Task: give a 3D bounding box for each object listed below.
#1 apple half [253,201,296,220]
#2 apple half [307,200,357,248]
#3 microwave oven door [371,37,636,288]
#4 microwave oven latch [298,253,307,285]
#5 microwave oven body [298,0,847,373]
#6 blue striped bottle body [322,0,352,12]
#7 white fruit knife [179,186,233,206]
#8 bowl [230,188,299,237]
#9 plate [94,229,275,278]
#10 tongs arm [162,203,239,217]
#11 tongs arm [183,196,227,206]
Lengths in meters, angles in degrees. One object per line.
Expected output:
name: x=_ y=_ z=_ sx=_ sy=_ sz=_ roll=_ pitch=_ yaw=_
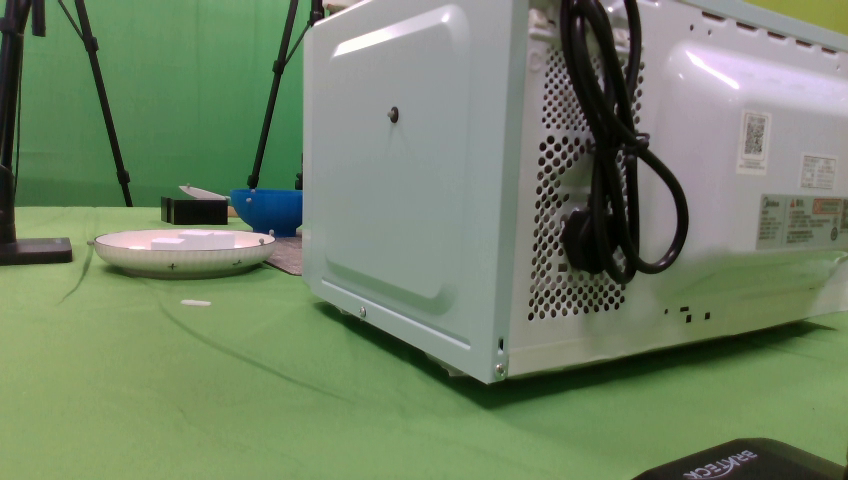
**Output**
apple half: x=-0.264 y=-0.053 z=1.067 sx=0.081 sy=0.033 sz=0.081 roll=1 pitch=8 yaw=0
apple half: x=-0.135 y=-0.024 z=0.941 sx=0.053 sy=0.074 sz=0.081 roll=13 pitch=8 yaw=39
microwave oven door: x=0.109 y=-0.080 z=0.686 sx=0.358 sy=0.243 sz=0.039 roll=-2 pitch=9 yaw=-33
microwave oven latch: x=-0.082 y=0.027 z=0.583 sx=0.079 sy=0.029 sz=0.030 roll=-2 pitch=8 yaw=-34
microwave oven body: x=0.151 y=-0.055 z=0.542 sx=0.444 sy=0.260 sz=0.324 roll=-2 pitch=7 yaw=-33
blue striped bottle body: x=-0.124 y=-0.423 z=0.954 sx=0.063 sy=0.120 sz=0.063 roll=7 pitch=9 yaw=-1
white fruit knife: x=-0.413 y=-0.081 z=1.270 sx=0.208 sy=0.027 sz=0.016 roll=17 pitch=13 yaw=-41
bowl: x=-0.264 y=-0.048 z=1.065 sx=0.151 sy=0.077 sz=0.151 roll=3 pitch=8 yaw=0
plate: x=-0.291 y=0.016 z=0.750 sx=0.208 sy=0.039 sz=0.207 roll=2 pitch=7 yaw=0
tongs arm: x=-0.396 y=-0.066 z=1.399 sx=0.389 sy=0.028 sz=0.028 roll=1 pitch=5 yaw=-15
tongs arm: x=-0.404 y=-0.081 z=1.479 sx=0.385 sy=0.026 sz=0.050 roll=3 pitch=8 yaw=-2
